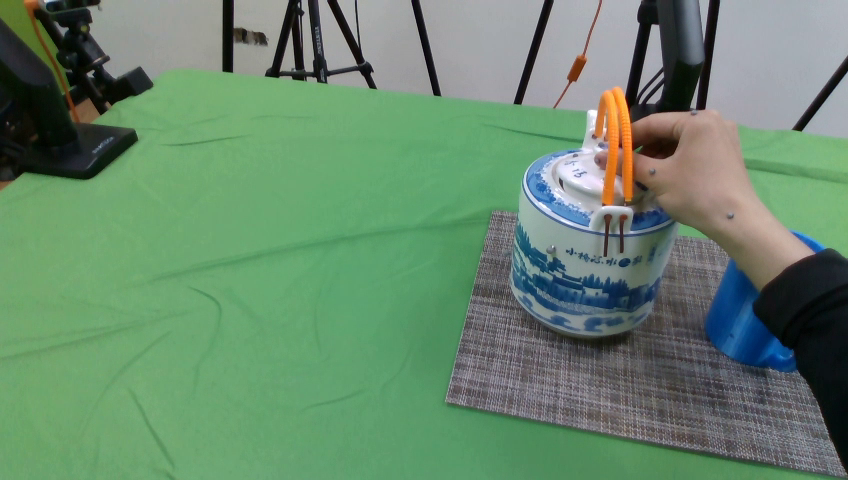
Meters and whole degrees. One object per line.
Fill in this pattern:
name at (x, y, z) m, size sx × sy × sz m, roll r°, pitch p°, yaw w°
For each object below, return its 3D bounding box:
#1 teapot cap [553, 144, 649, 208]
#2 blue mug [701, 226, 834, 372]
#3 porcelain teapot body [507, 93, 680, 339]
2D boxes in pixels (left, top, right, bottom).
teapot cap at (0.156, -0.060, 0.531) m, size 0.085 × 0.044 × 0.084 m, roll 6°, pitch 27°, yaw -3°
blue mug at (0.317, 0.062, 0.553) m, size 0.082 × 0.107 × 0.115 m, roll -3°, pitch 38°, yaw -3°
porcelain teapot body at (0.161, -0.043, 0.588) m, size 0.145 × 0.227 × 0.203 m, roll 3°, pitch 38°, yaw 4°
